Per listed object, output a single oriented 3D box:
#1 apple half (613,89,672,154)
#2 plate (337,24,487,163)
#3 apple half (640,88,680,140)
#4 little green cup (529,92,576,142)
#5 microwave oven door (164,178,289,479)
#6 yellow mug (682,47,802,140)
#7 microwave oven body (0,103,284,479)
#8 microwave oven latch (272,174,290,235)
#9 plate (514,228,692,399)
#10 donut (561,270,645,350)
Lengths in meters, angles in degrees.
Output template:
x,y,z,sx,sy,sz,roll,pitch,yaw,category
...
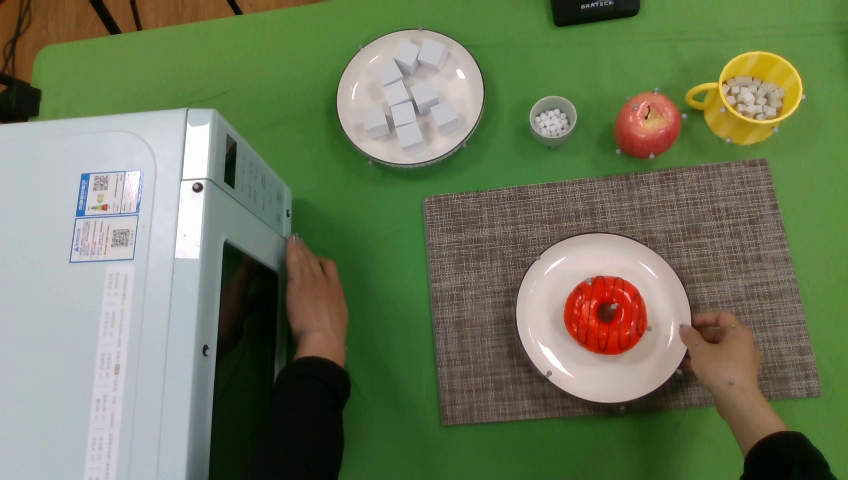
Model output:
x,y,z,sx,sy,sz,roll,pitch,yaw,category
0.273,-0.144,0.780,0.053,0.075,0.080,-33,78,2,apple half
-0.016,-0.201,0.846,0.207,0.039,0.206,-2,75,6,plate
0.306,-0.165,0.780,0.033,0.082,0.081,-33,74,2,apple half
0.172,-0.163,0.814,0.061,0.039,0.061,-2,75,7,little green cup
-0.204,0.139,0.656,0.039,0.245,0.354,-4,75,6,microwave oven door
0.402,-0.188,0.779,0.130,0.064,0.099,4,76,9,yellow mug
-0.349,0.108,0.687,0.326,0.261,0.439,-3,76,5,microwave oven body
-0.195,-0.047,0.808,0.030,0.029,0.079,-2,76,6,microwave oven latch
0.215,0.088,0.742,0.209,0.038,0.208,-2,76,7,plate
0.216,0.084,0.731,0.099,0.048,0.098,-1,78,6,donut
